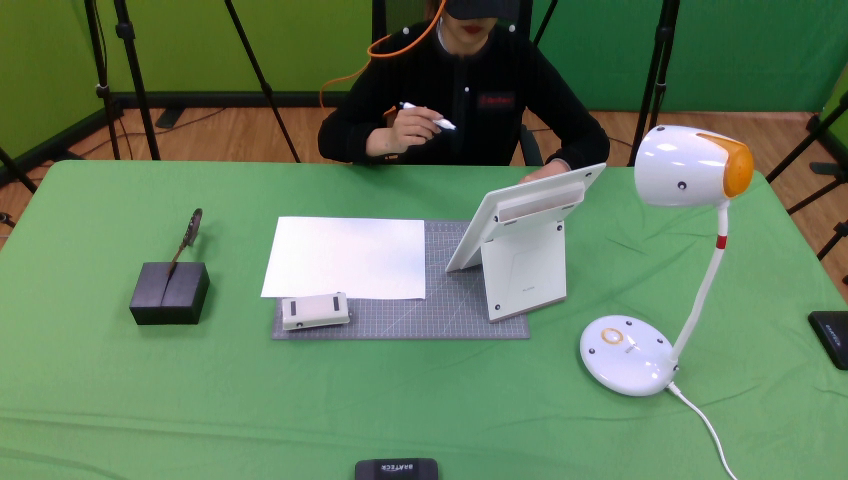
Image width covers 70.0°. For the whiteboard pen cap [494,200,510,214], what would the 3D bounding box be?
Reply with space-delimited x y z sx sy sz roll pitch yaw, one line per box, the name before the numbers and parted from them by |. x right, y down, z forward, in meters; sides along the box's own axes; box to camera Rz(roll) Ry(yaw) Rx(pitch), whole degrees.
whiteboard pen cap | 0.158 -0.068 1.236 0.033 0.018 0.018 33 51 7

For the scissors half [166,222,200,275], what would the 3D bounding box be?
scissors half | -0.444 0.015 1.116 0.013 0.040 0.174 16 27 -11

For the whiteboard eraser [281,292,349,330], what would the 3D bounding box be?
whiteboard eraser | -0.189 0.124 1.045 0.113 0.042 0.055 -6 46 -10

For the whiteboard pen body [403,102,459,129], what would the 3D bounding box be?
whiteboard pen body | 0.013 -0.240 1.174 0.140 0.017 0.017 30 51 30

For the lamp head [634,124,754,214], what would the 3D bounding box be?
lamp head | 0.351 -0.089 0.776 0.112 0.113 0.122 -30 30 -28

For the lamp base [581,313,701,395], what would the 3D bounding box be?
lamp base | 0.361 0.144 0.972 0.178 0.181 0.160 34 53 23

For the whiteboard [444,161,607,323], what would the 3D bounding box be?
whiteboard | 0.186 0.025 1.029 0.217 0.306 0.143 -14 68 -18

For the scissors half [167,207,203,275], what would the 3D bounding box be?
scissors half | -0.436 0.000 1.104 0.013 0.040 0.174 21 44 -14
